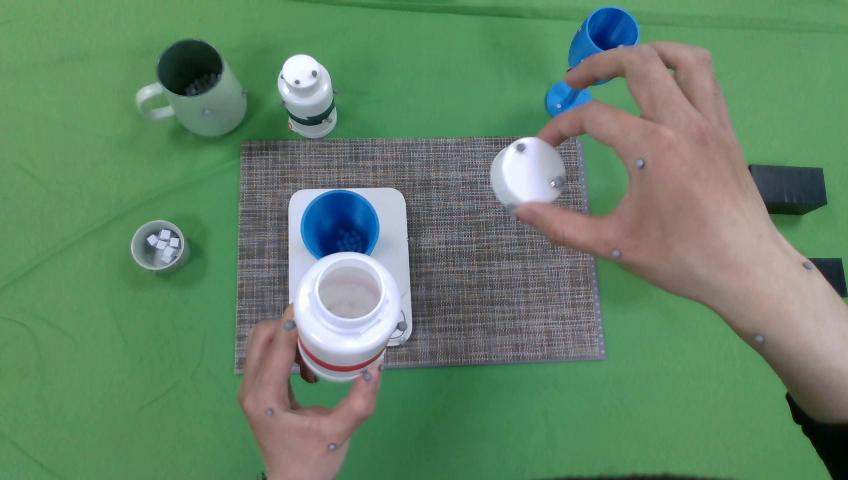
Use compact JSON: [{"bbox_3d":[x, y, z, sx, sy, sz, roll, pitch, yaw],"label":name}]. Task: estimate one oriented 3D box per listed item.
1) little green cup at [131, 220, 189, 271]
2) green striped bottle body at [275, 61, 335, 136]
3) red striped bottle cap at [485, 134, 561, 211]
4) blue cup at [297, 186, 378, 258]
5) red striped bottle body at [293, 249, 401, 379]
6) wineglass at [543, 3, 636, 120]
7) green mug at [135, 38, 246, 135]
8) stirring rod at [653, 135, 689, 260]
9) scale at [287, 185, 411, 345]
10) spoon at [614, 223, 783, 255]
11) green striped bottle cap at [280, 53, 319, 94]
[{"bbox_3d":[-0.319,0.009,0.740,0.061,0.039,0.061,1,77,-5],"label":"little green cup"},{"bbox_3d":[-0.148,-0.181,0.756,0.063,0.119,0.063,1,76,-3],"label":"green striped bottle body"},{"bbox_3d":[0.060,-0.041,0.363,0.045,0.017,0.044,5,77,-22],"label":"red striped bottle cap"},{"bbox_3d":[-0.096,-0.006,0.693,0.093,0.100,0.092,1,78,-6],"label":"blue cup"},{"bbox_3d":[-0.050,0.047,0.382,0.063,0.120,0.062,4,67,-9],"label":"red striped bottle body"},{"bbox_3d":[0.203,-0.218,0.762,0.074,0.173,0.073,1,76,-3],"label":"wineglass"},{"bbox_3d":[-0.293,-0.182,0.754,0.125,0.105,0.092,-24,79,-9],"label":"green mug"},{"bbox_3d":[0.302,-0.047,0.742,0.014,0.177,0.006,3,36,10],"label":"stirring rod"},{"bbox_3d":[-0.094,0.030,0.752,0.149,0.031,0.200,-3,77,-4],"label":"scale"},{"bbox_3d":[0.323,0.003,0.732,0.022,0.192,0.041,19,80,-44],"label":"spoon"},{"bbox_3d":[-0.145,-0.194,0.705,0.044,0.020,0.044,1,76,-4],"label":"green striped bottle cap"}]
